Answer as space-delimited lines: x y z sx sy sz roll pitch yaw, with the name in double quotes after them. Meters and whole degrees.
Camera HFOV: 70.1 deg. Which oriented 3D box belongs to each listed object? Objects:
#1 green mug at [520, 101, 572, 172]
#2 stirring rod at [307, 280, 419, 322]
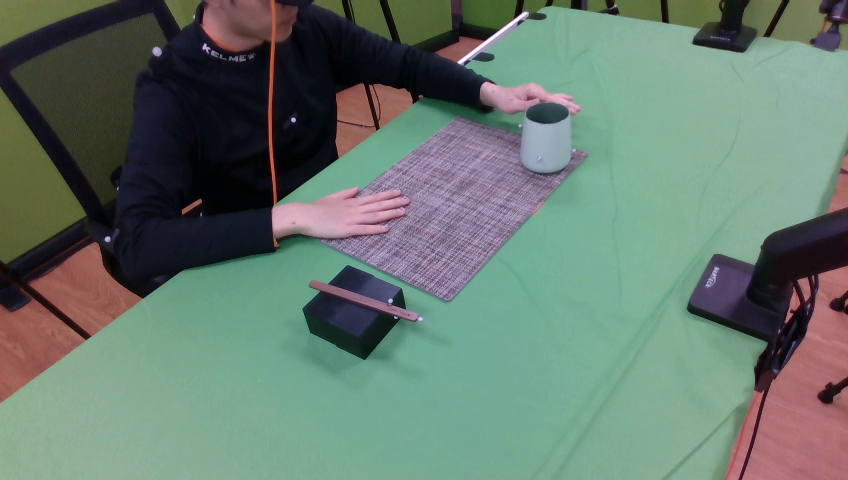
0.220 -0.194 1.093 0.092 0.105 0.125 -2 41 7 "green mug"
-0.086 0.082 0.822 0.175 0.006 0.014 15 45 23 "stirring rod"
